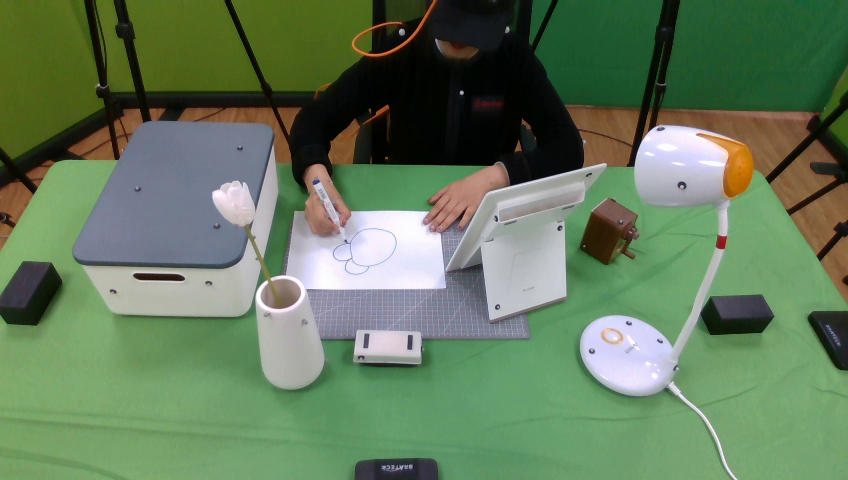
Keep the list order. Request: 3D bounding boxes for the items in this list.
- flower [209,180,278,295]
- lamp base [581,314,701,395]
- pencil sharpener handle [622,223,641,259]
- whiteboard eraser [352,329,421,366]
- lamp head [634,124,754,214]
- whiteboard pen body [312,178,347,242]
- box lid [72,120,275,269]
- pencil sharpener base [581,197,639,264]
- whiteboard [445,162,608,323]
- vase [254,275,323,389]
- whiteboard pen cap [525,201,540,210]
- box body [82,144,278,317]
[{"bbox_3d":[-0.217,0.075,0.871,0.044,0.363,0.038,-29,36,-19],"label":"flower"},{"bbox_3d":[0.361,0.144,0.973,0.178,0.181,0.160,34,53,23],"label":"lamp base"},{"bbox_3d":[0.397,0.002,1.146,0.030,0.068,0.036,37,46,27],"label":"pencil sharpener handle"},{"bbox_3d":[-0.061,0.180,1.005,0.113,0.042,0.055,3,48,-3],"label":"whiteboard eraser"},{"bbox_3d":[0.351,-0.089,0.776,0.112,0.113,0.122,-30,30,-28],"label":"lamp head"},{"bbox_3d":[-0.179,-0.055,1.163,0.017,0.141,0.017,-20,25,10],"label":"whiteboard pen body"},{"bbox_3d":[-0.417,-0.094,1.056,0.263,0.015,0.369,1,47,-3],"label":"box lid"},{"bbox_3d":[0.362,-0.017,1.179,0.076,0.107,0.061,37,54,27],"label":"pencil sharpener base"},{"bbox_3d":[0.186,0.025,1.029,0.217,0.306,0.143,-14,68,-17],"label":"whiteboard"},{"bbox_3d":[-0.209,0.143,0.921,0.098,0.201,0.097,1,46,-1],"label":"vase"},{"bbox_3d":[0.230,-0.074,1.289,0.033,0.018,0.018,5,46,4],"label":"whiteboard pen cap"},{"bbox_3d":[-0.421,-0.041,1.108,0.254,0.161,0.361,2,46,-3],"label":"box body"}]
